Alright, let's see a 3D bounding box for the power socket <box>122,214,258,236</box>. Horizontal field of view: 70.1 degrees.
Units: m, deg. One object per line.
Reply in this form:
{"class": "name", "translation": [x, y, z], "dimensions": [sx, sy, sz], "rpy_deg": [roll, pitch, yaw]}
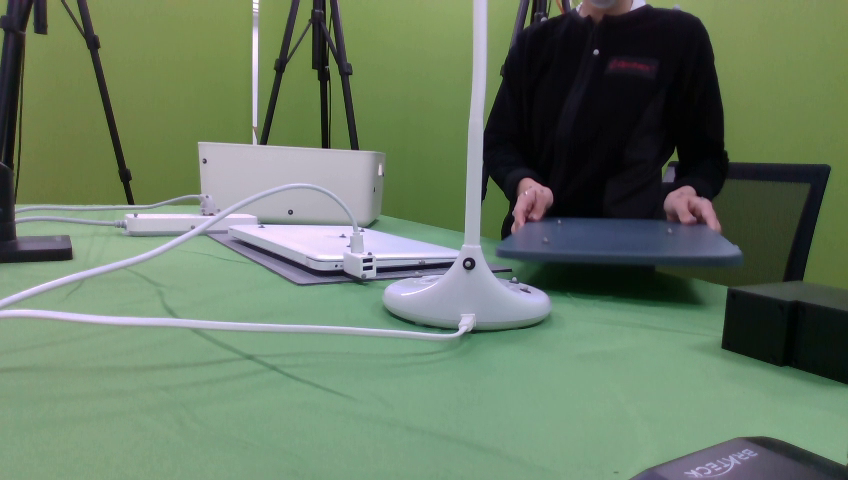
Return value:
{"class": "power socket", "translation": [-0.399, -0.028, 1.049], "dimensions": [0.228, 0.032, 0.072], "rpy_deg": [-3, 8, -34]}

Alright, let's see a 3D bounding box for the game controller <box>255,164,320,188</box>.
{"class": "game controller", "translation": [-0.298, -0.139, 1.319], "dimensions": [0.097, 0.051, 0.155], "rpy_deg": [0, 6, 15]}

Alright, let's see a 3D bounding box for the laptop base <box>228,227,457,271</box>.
{"class": "laptop base", "translation": [-0.122, 0.011, 0.889], "dimensions": [0.237, 0.023, 0.352], "rpy_deg": [2, 6, -35]}

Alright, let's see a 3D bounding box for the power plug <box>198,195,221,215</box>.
{"class": "power plug", "translation": [-0.387, -0.055, 1.089], "dimensions": [0.035, 0.052, 0.072], "rpy_deg": [-1, 6, -22]}

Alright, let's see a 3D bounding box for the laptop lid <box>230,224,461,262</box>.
{"class": "laptop lid", "translation": [-0.120, 0.000, 0.888], "dimensions": [0.243, 0.013, 0.355], "rpy_deg": [1, 7, -33]}

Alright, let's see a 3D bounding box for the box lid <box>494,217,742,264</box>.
{"class": "box lid", "translation": [0.253, -0.005, 0.810], "dimensions": [0.262, 0.015, 0.372], "rpy_deg": [1, 8, 18]}

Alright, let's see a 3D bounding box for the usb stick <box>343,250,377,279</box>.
{"class": "usb stick", "translation": [-0.076, 0.026, 0.687], "dimensions": [0.021, 0.027, 0.059], "rpy_deg": [-8, 8, -31]}

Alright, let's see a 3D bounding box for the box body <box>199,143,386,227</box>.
{"class": "box body", "translation": [-0.277, -0.124, 1.334], "dimensions": [0.364, 0.160, 0.254], "rpy_deg": [3, 7, 1]}

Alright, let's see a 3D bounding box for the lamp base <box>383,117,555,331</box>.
{"class": "lamp base", "translation": [0.045, -0.019, 0.547], "dimensions": [0.161, 0.180, 0.179], "rpy_deg": [2, 10, -4]}
